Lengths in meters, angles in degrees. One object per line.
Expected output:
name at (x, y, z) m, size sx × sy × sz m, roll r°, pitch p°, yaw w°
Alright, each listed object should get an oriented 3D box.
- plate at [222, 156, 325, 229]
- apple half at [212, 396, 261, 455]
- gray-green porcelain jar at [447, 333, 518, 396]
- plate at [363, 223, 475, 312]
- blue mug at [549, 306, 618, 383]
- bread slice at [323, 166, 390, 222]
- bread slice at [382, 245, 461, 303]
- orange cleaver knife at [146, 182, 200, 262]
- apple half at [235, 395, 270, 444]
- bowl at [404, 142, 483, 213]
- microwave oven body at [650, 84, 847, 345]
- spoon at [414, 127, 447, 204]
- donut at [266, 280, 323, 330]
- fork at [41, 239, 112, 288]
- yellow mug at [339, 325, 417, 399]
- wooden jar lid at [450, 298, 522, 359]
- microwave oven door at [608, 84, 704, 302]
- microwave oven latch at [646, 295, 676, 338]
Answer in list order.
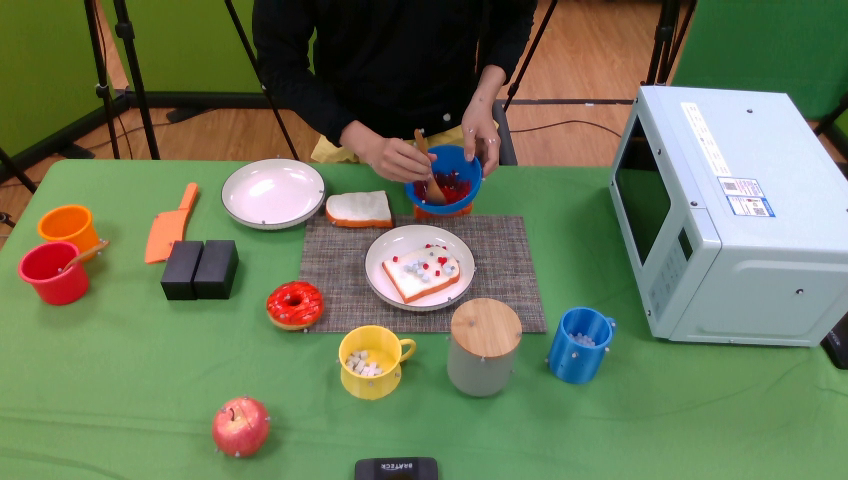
plate at (-0.308, -0.095, 1.251) m, size 0.209 × 0.038 × 0.208 m, roll 3°, pitch 47°, yaw -2°
apple half at (-0.276, 0.276, 0.877) m, size 0.053 × 0.075 × 0.080 m, roll -29°, pitch 58°, yaw -21°
gray-green porcelain jar at (0.091, 0.178, 0.960) m, size 0.106 × 0.127 × 0.105 m, roll 2°, pitch 46°, yaw -2°
plate at (-0.009, 0.054, 1.127) m, size 0.208 × 0.039 × 0.206 m, roll 2°, pitch 46°, yaw -2°
blue mug at (0.269, 0.167, 0.997) m, size 0.116 × 0.106 × 0.082 m, roll -19°, pitch 51°, yaw -21°
bread slice at (-0.140, -0.092, 1.224) m, size 0.134 × 0.018 × 0.106 m, roll -19°, pitch 51°, yaw 6°
bread slice at (0.000, 0.055, 1.129) m, size 0.131 × 0.019 × 0.104 m, roll -21°, pitch 51°, yaw -20°
orange cleaver knife at (-0.494, -0.039, 1.198) m, size 0.077 × 0.012 × 0.210 m, roll -3°, pitch 48°, yaw 2°
apple half at (-0.245, 0.260, 0.893) m, size 0.033 × 0.082 × 0.081 m, roll -29°, pitch 55°, yaw -22°
bowl at (0.042, -0.105, 1.161) m, size 0.151 × 0.077 × 0.150 m, roll -6°, pitch 58°, yaw 10°
microwave oven body at (0.569, -0.054, 1.116) m, size 0.326 × 0.261 × 0.439 m, roll 2°, pitch 46°, yaw -1°
spoon at (0.008, -0.129, 1.084) m, size 0.041 × 0.195 × 0.021 m, roll 11°, pitch 52°, yaw 24°
donut at (-0.223, 0.112, 1.051) m, size 0.099 × 0.048 × 0.098 m, roll 2°, pitch 46°, yaw -2°
fork at (-0.591, 0.040, 1.028) m, size 0.207 × 0.019 × 0.028 m, roll -27°, pitch 37°, yaw 29°
yellow mug at (-0.072, 0.190, 0.978) m, size 0.131 × 0.064 × 0.099 m, roll -17°, pitch 50°, yaw -20°
wooden jar lid at (0.093, 0.135, 0.914) m, size 0.108 × 0.021 × 0.107 m, roll 2°, pitch 48°, yaw -3°
microwave oven door at (0.424, -0.096, 1.138) m, size 0.039 × 0.245 × 0.353 m, roll 2°, pitch 46°, yaw -1°
microwave oven latch at (0.413, 0.133, 1.060) m, size 0.030 × 0.029 × 0.078 m, roll 4°, pitch 46°, yaw 1°
